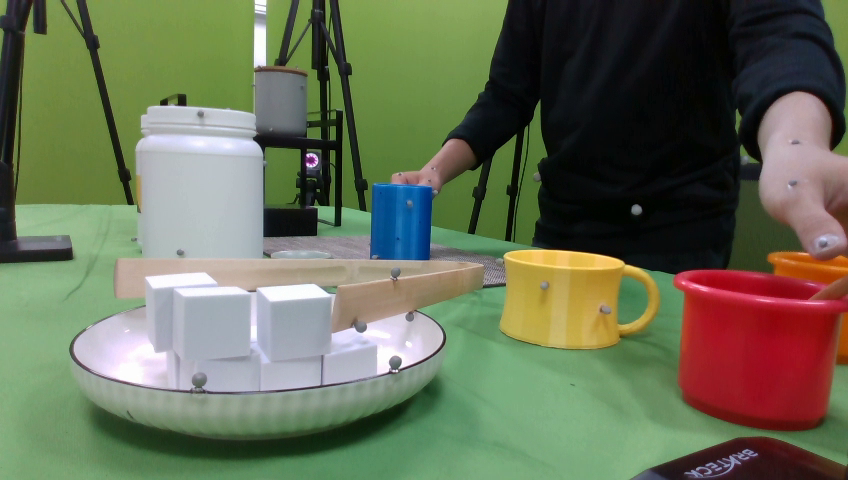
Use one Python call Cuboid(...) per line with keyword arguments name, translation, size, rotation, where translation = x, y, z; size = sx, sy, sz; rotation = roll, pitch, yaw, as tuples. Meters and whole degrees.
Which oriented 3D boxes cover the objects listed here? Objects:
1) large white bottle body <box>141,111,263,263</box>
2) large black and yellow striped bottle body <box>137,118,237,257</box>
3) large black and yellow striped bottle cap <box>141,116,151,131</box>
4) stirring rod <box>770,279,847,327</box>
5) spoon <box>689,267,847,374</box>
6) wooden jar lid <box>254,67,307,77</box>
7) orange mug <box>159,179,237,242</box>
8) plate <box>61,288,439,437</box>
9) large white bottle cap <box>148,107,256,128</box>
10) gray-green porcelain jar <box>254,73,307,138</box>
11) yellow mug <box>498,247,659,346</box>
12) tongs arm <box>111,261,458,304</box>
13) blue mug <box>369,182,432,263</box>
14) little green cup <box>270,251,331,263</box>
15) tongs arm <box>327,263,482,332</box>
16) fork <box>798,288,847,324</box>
Cuboid(name="large white bottle body", translation=(-0.254, -0.053, 0.697), size=(0.131, 0.184, 0.130), rotation=(2, 7, 0))
Cuboid(name="large black and yellow striped bottle body", translation=(-0.330, -0.075, 0.849), size=(0.131, 0.184, 0.130), rotation=(2, 8, 0))
Cuboid(name="large black and yellow striped bottle cap", translation=(-0.329, -0.158, 0.837), size=(0.115, 0.019, 0.115), rotation=(2, 6, 0))
Cuboid(name="stirring rod", translation=(0.349, 0.022, 0.468), size=(0.014, 0.006, 0.175), rotation=(-13, -26, -50))
Cuboid(name="spoon", translation=(0.216, 0.033, 0.328), size=(0.042, 0.021, 0.193), rotation=(2, -37, -23))
Cuboid(name="wooden jar lid", translation=(-0.296, -0.339, 1.251), size=(0.108, 0.020, 0.108), rotation=(1, 7, 0))
Cuboid(name="orange mug", translation=(-0.368, -0.051, 0.991), size=(0.127, 0.101, 0.083), rotation=(-10, 14, -41))
Cuboid(name="plate", translation=(-0.095, 0.069, 0.362), size=(0.208, 0.039, 0.207), rotation=(3, 7, 0))
Cuboid(name="large white bottle cap", translation=(-0.250, -0.137, 0.686), size=(0.115, 0.018, 0.115), rotation=(2, 8, 0))
Cuboid(name="gray-green porcelain jar", translation=(-0.298, -0.277, 1.259), size=(0.106, 0.126, 0.106), rotation=(3, 8, 0))
Cuboid(name="yellow mug", translation=(0.130, 0.045, 0.508), size=(0.131, 0.064, 0.100), rotation=(4, 7, 5))
Cuboid(name="tongs arm", translation=(-0.080, 0.032, 0.527), size=(0.028, 0.027, 0.389), rotation=(-3, -3, 33))
Cuboid(name="blue mug", translation=(-0.027, -0.026, 0.835), size=(0.082, 0.106, 0.117), rotation=(4, 7, 19))
Cuboid(name="little green cup", translation=(-0.129, 0.034, 0.629), size=(0.061, 0.038, 0.061), rotation=(2, 6, 0))
Cuboid(name="tongs arm", translation=(-0.003, 0.036, 0.493), size=(0.050, 0.026, 0.386), rotation=(1, 0, 19))
Cuboid(name="fork", translation=(0.324, 0.018, 0.441), size=(0.028, 0.018, 0.207), rotation=(-2, -36, -4))
